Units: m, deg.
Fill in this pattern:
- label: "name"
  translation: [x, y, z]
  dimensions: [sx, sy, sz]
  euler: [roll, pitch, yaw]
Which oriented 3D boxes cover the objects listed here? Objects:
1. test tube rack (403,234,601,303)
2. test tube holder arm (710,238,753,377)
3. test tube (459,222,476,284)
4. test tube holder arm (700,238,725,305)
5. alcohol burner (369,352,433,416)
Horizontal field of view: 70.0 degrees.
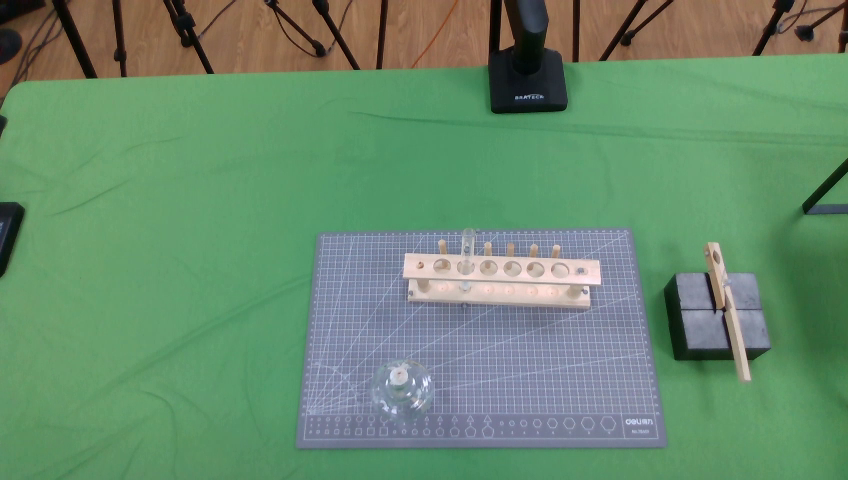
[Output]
- label: "test tube rack"
  translation: [0.099, 0.032, 0.791]
  dimensions: [0.242, 0.086, 0.066]
  euler: [2, 65, 3]
- label: "test tube holder arm"
  translation: [0.375, 0.080, 0.746]
  dimensions: [0.013, 0.015, 0.177]
  euler: [-3, 65, -4]
- label: "test tube"
  translation: [0.052, 0.020, 0.745]
  dimensions: [0.017, 0.151, 0.017]
  euler: [-1, 63, 2]
- label: "test tube holder arm"
  translation: [0.366, 0.039, 0.764]
  dimensions: [0.010, 0.015, 0.087]
  euler: [-2, 65, -3]
- label: "alcohol burner"
  translation: [-0.028, 0.166, 0.716]
  dimensions: [0.078, 0.120, 0.077]
  euler: [0, 63, 1]
